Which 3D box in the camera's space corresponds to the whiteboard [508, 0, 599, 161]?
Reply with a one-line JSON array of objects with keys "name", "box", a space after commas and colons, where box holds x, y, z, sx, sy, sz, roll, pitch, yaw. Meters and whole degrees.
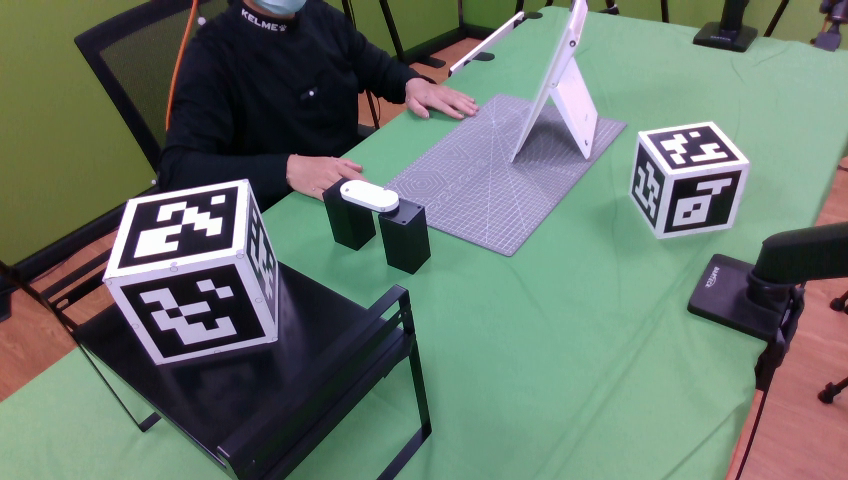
[{"name": "whiteboard", "box": [0.285, -0.289, 1.088, 0.144, 0.305, 0.217, 22, 45, 3]}]

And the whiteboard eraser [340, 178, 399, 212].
[{"name": "whiteboard eraser", "box": [-0.083, -0.068, 0.906, 0.100, 0.019, 0.041, 20, 49, 29]}]
